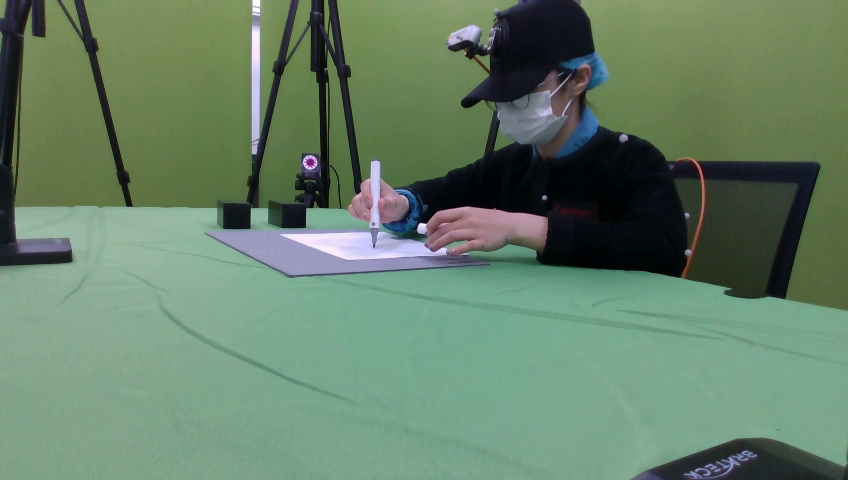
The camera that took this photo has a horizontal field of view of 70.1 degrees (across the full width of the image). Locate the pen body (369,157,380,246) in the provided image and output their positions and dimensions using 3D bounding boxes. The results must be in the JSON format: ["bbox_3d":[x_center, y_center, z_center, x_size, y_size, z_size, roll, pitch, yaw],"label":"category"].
[{"bbox_3d":[-0.077,-0.061,0.951,0.017,0.144,0.017,0,-12,0],"label":"pen body"}]

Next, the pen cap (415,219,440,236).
[{"bbox_3d":[0.006,-0.018,0.914,0.038,0.017,0.017,24,18,32],"label":"pen cap"}]
